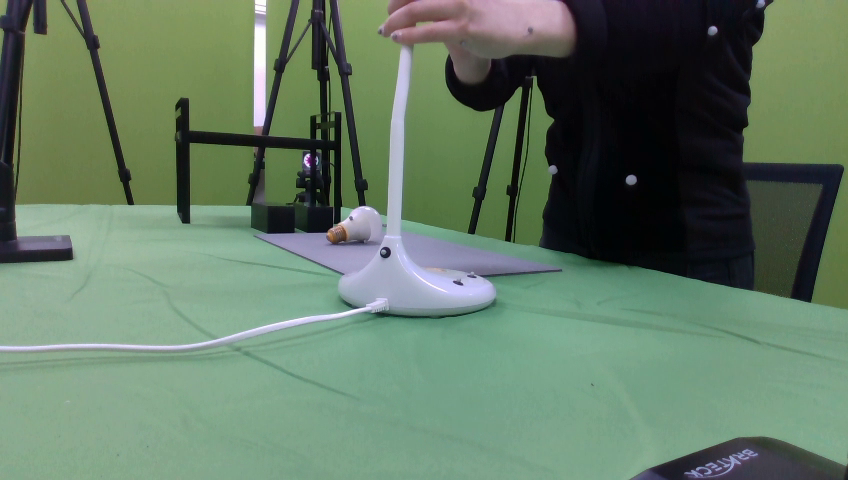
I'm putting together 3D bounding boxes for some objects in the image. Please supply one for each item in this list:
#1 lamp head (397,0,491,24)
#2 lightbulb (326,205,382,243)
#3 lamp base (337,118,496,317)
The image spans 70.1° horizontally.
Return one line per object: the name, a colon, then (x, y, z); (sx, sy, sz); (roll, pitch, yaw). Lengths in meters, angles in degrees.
lamp head: (0.012, -0.303, 0.629); (0.112, 0.112, 0.123); (5, -36, 22)
lightbulb: (-0.117, -0.021, 0.999); (0.059, 0.059, 0.108); (10, 25, 43)
lamp base: (-0.009, -0.025, 0.588); (0.160, 0.180, 0.179); (4, 10, 15)
